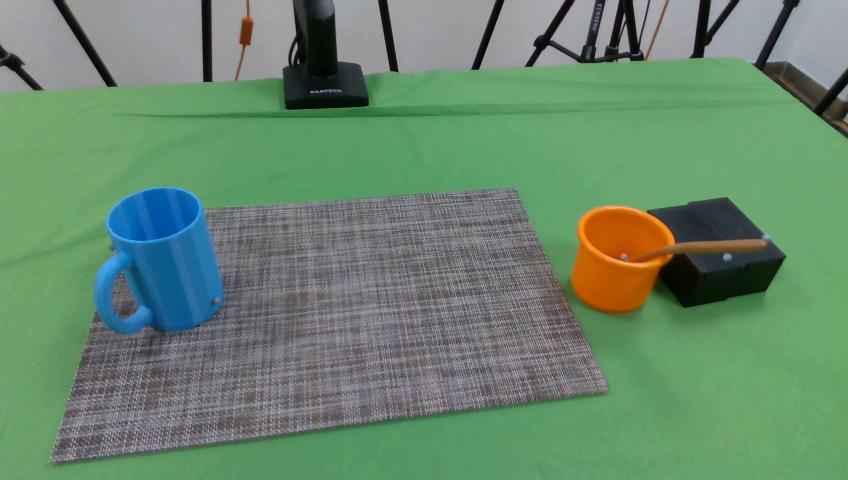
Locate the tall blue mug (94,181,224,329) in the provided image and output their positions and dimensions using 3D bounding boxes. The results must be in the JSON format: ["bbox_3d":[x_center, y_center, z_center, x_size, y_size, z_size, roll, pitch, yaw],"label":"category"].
[{"bbox_3d":[-0.229,0.023,0.533,0.078,0.109,0.106,1,42,-3],"label":"tall blue mug"}]

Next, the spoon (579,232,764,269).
[{"bbox_3d":[0.218,0.008,0.559,0.042,0.193,0.021,-21,91,-29],"label":"spoon"}]
